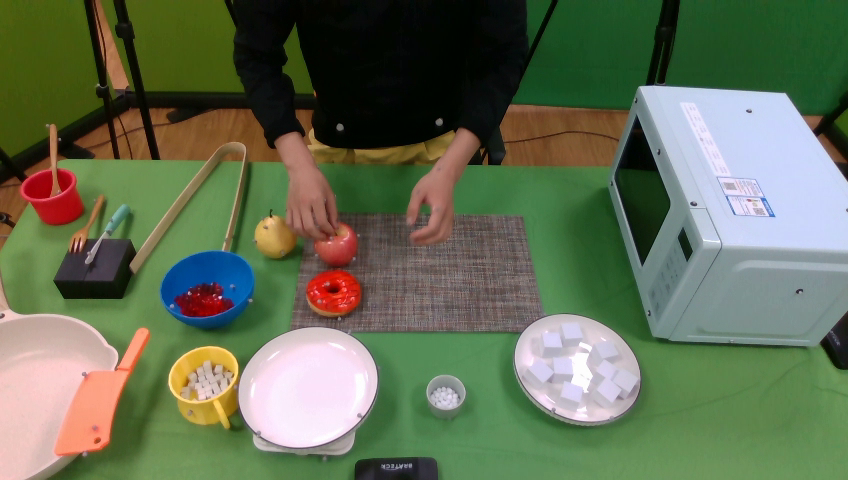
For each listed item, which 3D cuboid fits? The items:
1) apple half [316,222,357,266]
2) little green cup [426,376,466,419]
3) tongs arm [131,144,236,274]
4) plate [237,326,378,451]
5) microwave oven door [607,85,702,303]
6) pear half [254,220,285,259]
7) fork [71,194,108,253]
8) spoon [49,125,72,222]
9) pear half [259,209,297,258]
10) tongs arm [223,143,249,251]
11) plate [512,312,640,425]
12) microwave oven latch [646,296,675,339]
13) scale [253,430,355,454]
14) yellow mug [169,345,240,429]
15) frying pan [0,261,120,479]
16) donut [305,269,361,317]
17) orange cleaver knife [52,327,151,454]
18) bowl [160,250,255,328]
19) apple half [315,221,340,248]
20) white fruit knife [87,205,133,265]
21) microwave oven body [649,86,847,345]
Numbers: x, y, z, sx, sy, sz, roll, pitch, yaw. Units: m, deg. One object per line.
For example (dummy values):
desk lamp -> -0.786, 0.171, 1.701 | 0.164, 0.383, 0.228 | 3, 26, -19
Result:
apple half -> -0.156, 0.015, 1.131 | 0.053, 0.075, 0.081 | 35, 50, 23
little green cup -> 0.033, 0.248, 0.950 | 0.061, 0.039, 0.061 | 2, 46, -2
tongs arm -> -0.482, -0.077, 1.236 | 0.028, 0.028, 0.385 | 6, 45, 13
plate -> -0.174, 0.224, 0.917 | 0.209, 0.038, 0.208 | 2, 46, -2
microwave oven door -> 0.423, -0.094, 1.140 | 0.039, 0.245, 0.353 | 2, 46, -1
pear half -> -0.294, 0.003, 1.127 | 0.070, 0.088, 0.031 | 26, 49, 16
fork -> -0.634, -0.036, 1.158 | 0.028, 0.019, 0.206 | -8, 31, -8
spoon -> -0.718, -0.131, 1.189 | 0.041, 0.021, 0.193 | -4, 90, -7
pear half -> -0.273, -0.024, 1.141 | 0.076, 0.110, 0.056 | 27, 50, 16
tongs arm -> -0.397, -0.073, 1.232 | 0.051, 0.027, 0.382 | -2, 45, 1
plate -> 0.246, 0.213, 0.999 | 0.208, 0.039, 0.206 | 2, 46, -2
microwave oven latch -> 0.412, 0.134, 1.061 | 0.030, 0.029, 0.078 | 4, 45, 1
scale -> -0.175, 0.236, 0.951 | 0.149, 0.032, 0.199 | 4, 46, 0
yellow mug -> -0.323, 0.230, 0.922 | 0.100, 0.064, 0.130 | -24, 53, -25
frying pan -> -0.647, 0.164, 0.936 | 0.307, 0.103, 0.485 | -19, 58, -22
donut -> -0.160, 0.094, 1.075 | 0.099, 0.048, 0.098 | 4, 45, -4
orange cleaver knife -> -0.462, 0.212, 0.879 | 0.077, 0.012, 0.210 | 6, 45, -1
bowl -> -0.362, 0.098, 1.040 | 0.151, 0.077, 0.150 | 2, 45, -2
apple half -> -0.184, -0.003, 1.149 | 0.032, 0.081, 0.081 | 32, 52, 18
white fruit knife -> -0.584, -0.013, 1.129 | 0.016, 0.027, 0.206 | -1, 32, -4
microwave oven body -> 0.567, -0.053, 1.118 | 0.326, 0.261, 0.439 | 2, 45, -1
